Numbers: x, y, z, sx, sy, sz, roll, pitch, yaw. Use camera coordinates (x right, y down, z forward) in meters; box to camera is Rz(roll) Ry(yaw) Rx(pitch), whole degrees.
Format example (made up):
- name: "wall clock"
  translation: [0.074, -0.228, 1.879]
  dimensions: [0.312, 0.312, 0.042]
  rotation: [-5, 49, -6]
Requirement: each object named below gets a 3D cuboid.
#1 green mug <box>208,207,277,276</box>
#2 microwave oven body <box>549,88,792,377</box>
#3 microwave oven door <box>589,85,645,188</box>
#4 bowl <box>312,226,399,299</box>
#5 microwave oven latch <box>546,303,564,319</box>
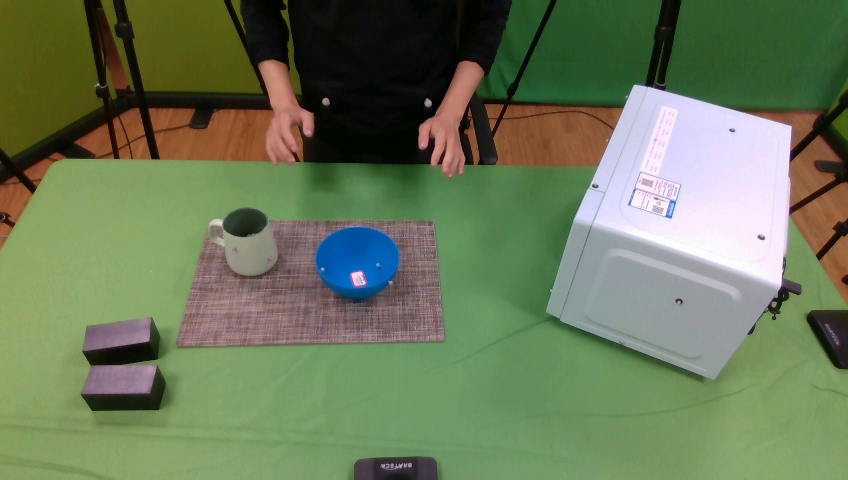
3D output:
- name: "green mug"
  translation: [-0.335, 0.000, 1.108]
  dimensions: [0.125, 0.105, 0.092]
  rotation: [14, 47, 9]
- name: "microwave oven body"
  translation: [0.456, -0.028, 1.088]
  dimensions: [0.325, 0.261, 0.440]
  rotation: [20, 47, 16]
- name: "microwave oven door"
  translation: [0.342, -0.108, 1.149]
  dimensions: [0.039, 0.245, 0.354]
  rotation: [20, 48, 15]
- name: "bowl"
  translation: [-0.120, 0.054, 1.091]
  dimensions: [0.151, 0.077, 0.150]
  rotation: [2, 46, -2]
- name: "microwave oven latch"
  translation: [0.242, 0.102, 1.081]
  dimensions: [0.030, 0.029, 0.079]
  rotation: [21, 48, 17]
